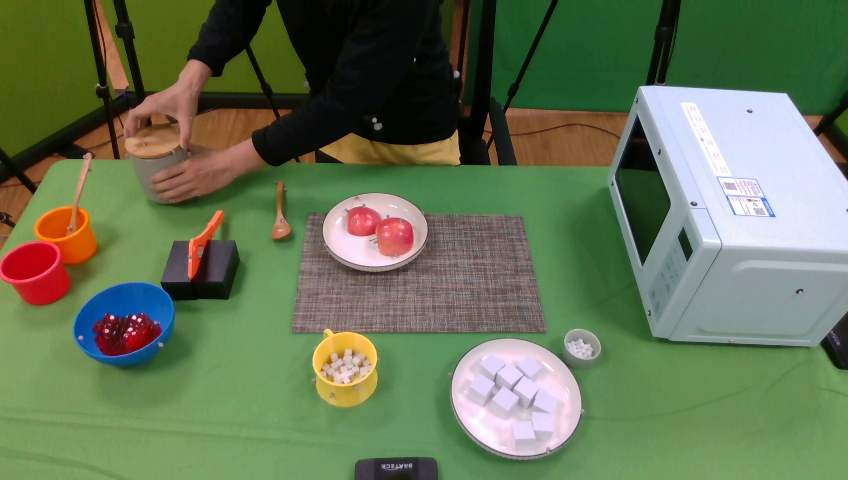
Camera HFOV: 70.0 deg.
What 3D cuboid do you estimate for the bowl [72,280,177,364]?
[{"bbox_3d":[-0.473,0.147,0.982,0.151,0.077,0.150,2,46,-2],"label":"bowl"}]

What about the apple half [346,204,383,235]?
[{"bbox_3d":[-0.119,-0.049,1.207,0.081,0.033,0.081,2,50,-2],"label":"apple half"}]

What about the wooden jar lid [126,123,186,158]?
[{"bbox_3d":[-0.518,-0.189,1.178,0.108,0.021,0.107,2,44,-2],"label":"wooden jar lid"}]

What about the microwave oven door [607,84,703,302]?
[{"bbox_3d":[0.424,-0.096,1.137,0.039,0.245,0.353,3,46,-1],"label":"microwave oven door"}]

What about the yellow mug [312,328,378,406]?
[{"bbox_3d":[-0.132,0.193,0.971,0.100,0.064,0.130,-22,51,-22],"label":"yellow mug"}]

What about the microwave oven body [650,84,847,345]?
[{"bbox_3d":[0.569,-0.054,1.116,0.326,0.261,0.439,2,46,-1],"label":"microwave oven body"}]

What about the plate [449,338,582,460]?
[{"bbox_3d":[0.141,0.251,0.956,0.208,0.039,0.206,2,46,-2],"label":"plate"}]

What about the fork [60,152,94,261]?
[{"bbox_3d":[-0.638,-0.063,1.119,0.028,0.018,0.207,12,90,9],"label":"fork"}]

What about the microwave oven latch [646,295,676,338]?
[{"bbox_3d":[0.413,0.133,1.060,0.030,0.029,0.078,4,46,1],"label":"microwave oven latch"}]

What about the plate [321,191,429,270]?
[{"bbox_3d":[-0.094,-0.015,1.185,0.209,0.038,0.208,2,46,-2],"label":"plate"}]

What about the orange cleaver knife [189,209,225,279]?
[{"bbox_3d":[-0.401,0.002,1.122,0.012,0.077,0.210,4,23,-4],"label":"orange cleaver knife"}]

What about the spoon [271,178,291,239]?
[{"bbox_3d":[-0.293,-0.068,1.237,0.041,0.022,0.192,-18,48,6],"label":"spoon"}]

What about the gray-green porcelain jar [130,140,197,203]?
[{"bbox_3d":[-0.522,-0.147,1.224,0.106,0.127,0.105,2,47,-2],"label":"gray-green porcelain jar"}]

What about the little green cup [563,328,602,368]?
[{"bbox_3d":[0.266,0.185,1.025,0.061,0.039,0.061,1,45,-1],"label":"little green cup"}]

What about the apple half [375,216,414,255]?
[{"bbox_3d":[-0.056,-0.017,1.169,0.075,0.053,0.080,0,46,-7],"label":"apple half"}]
